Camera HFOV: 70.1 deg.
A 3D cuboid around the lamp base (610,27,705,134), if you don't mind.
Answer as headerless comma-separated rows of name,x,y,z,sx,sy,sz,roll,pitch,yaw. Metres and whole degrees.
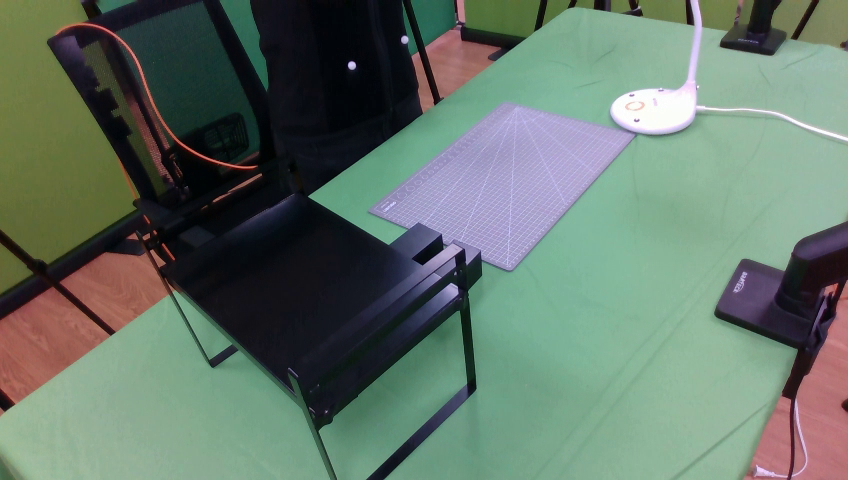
lamp base,0.458,-0.316,1.154,0.179,0.181,0.159,-5,41,-1
